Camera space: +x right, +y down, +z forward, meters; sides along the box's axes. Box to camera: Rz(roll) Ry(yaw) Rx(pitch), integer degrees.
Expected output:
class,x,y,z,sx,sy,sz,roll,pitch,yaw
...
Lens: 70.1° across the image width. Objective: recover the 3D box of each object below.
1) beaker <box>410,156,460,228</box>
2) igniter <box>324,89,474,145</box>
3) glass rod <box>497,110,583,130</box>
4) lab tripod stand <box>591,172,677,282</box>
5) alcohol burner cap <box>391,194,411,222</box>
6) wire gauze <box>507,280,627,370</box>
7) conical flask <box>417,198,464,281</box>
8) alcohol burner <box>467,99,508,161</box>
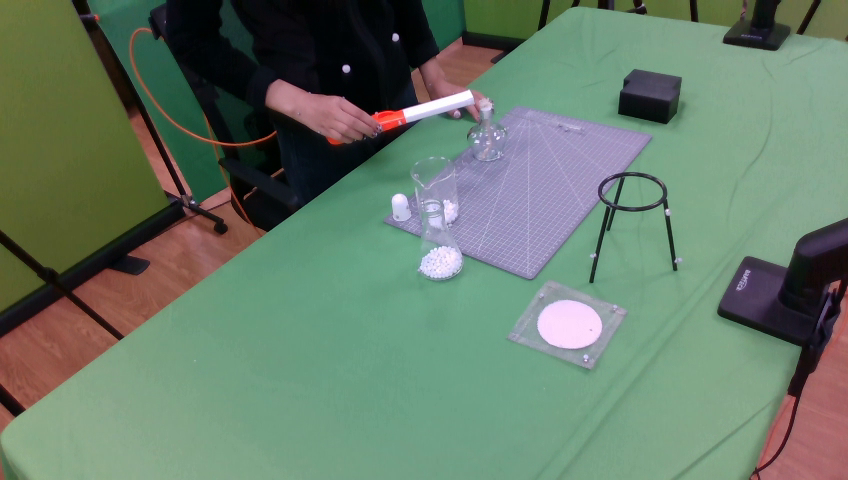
class,x,y,z,sx,sy,sz,roll,pitch,yaw
beaker,0.020,-0.076,1.006,0.074,0.101,0.084,3,42,15
igniter,-0.046,-0.220,1.087,0.277,0.025,0.057,-16,42,1
glass rod,0.233,-0.245,1.235,0.198,0.008,0.008,21,49,35
lab tripod stand,0.292,-0.022,0.867,0.148,0.132,0.147,-7,39,6
alcohol burner cap,-0.041,-0.057,1.040,0.034,0.048,0.033,-6,40,5
wire gauze,0.196,0.114,0.823,0.120,0.011,0.125,20,50,31
conical flask,0.019,-0.004,0.907,0.075,0.122,0.075,-5,40,5
alcohol burner,0.119,-0.210,1.134,0.078,0.119,0.077,-4,40,4
